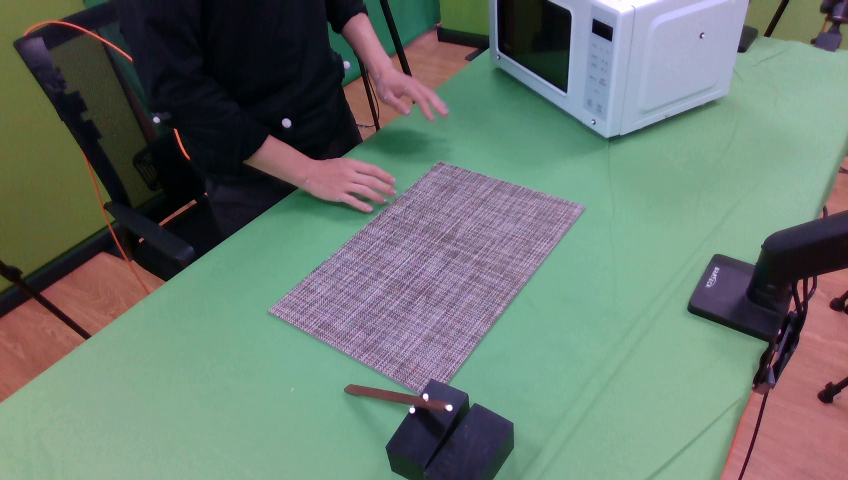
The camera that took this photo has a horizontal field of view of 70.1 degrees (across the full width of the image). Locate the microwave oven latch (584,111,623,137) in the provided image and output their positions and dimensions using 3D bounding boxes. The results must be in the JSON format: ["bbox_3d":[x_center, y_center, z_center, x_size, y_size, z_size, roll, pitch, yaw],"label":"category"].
[{"bbox_3d":[0.337,-0.222,1.142,0.030,0.029,0.078,-21,42,-14],"label":"microwave oven latch"}]

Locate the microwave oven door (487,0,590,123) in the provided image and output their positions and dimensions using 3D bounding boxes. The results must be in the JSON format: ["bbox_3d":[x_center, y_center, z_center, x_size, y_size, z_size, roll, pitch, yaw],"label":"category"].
[{"bbox_3d":[0.232,-0.420,1.231,0.039,0.245,0.352,-22,43,-16],"label":"microwave oven door"}]

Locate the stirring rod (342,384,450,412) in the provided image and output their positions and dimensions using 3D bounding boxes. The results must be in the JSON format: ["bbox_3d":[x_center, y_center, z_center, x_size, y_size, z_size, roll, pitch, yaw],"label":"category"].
[{"bbox_3d":[-0.038,0.185,0.714,0.175,0.006,0.014,-3,22,43],"label":"stirring rod"}]

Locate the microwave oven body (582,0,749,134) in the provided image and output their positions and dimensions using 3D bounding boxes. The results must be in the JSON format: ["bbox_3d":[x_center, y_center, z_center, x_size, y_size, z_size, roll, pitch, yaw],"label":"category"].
[{"bbox_3d":[0.382,-0.444,1.246,0.327,0.261,0.437,-22,42,-16],"label":"microwave oven body"}]
